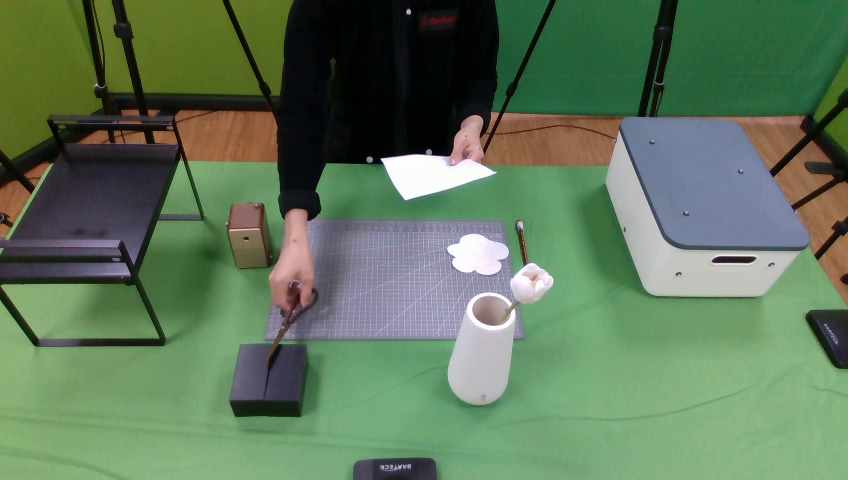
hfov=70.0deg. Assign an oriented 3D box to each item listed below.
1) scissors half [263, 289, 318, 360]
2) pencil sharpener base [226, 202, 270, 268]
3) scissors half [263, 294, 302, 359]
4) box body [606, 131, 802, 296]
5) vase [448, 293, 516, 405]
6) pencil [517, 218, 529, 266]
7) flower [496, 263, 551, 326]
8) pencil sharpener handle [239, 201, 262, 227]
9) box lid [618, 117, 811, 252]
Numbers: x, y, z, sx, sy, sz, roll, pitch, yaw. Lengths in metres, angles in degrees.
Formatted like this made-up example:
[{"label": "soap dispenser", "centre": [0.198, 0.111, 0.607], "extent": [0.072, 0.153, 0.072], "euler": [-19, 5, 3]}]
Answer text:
[{"label": "scissors half", "centre": [-0.218, 0.135, 0.995], "extent": [0.040, 0.013, 0.174], "euler": [-21, 24, 33]}, {"label": "pencil sharpener base", "centre": [-0.323, -0.010, 1.123], "extent": [0.061, 0.107, 0.076], "euler": [-3, 46, -7]}, {"label": "scissors half", "centre": [-0.235, 0.142, 1.003], "extent": [0.040, 0.013, 0.174], "euler": [-22, 23, 15]}, {"label": "box body", "centre": [0.530, -0.067, 1.204], "extent": [0.254, 0.161, 0.361], "euler": [0, 46, -4]}, {"label": "vase", "centre": [0.091, 0.169, 0.921], "extent": [0.098, 0.201, 0.097], "euler": [3, 47, -3]}, {"label": "pencil", "centre": [0.200, 0.028, 1.196], "extent": [0.012, 0.012, 0.193], "euler": [2, 48, -3]}, {"label": "flower", "centre": [0.102, 0.121, 0.853], "extent": [0.044, 0.363, 0.038], "euler": [-2, 64, -10]}, {"label": "pencil sharpener handle", "centre": [-0.325, -0.055, 1.150], "extent": [0.036, 0.068, 0.030], "euler": [-13, 46, 3]}, {"label": "box lid", "centre": [0.534, -0.117, 1.149], "extent": [0.263, 0.015, 0.369], "euler": [0, 47, -3]}]
